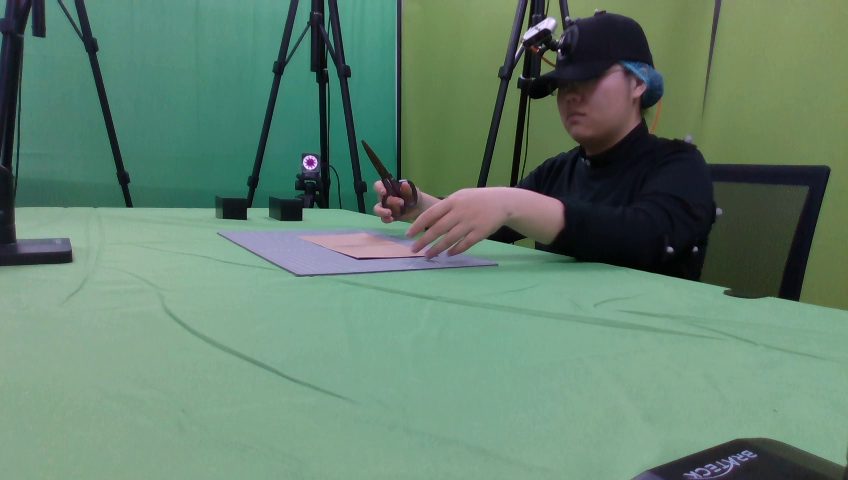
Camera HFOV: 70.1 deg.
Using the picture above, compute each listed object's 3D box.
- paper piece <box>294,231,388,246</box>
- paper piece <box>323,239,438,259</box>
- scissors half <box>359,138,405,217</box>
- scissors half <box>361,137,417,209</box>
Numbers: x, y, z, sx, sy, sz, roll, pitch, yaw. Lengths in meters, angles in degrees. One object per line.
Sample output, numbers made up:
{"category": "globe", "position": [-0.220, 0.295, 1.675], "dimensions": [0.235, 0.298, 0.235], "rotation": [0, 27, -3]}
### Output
{"category": "paper piece", "position": [-0.138, -0.002, 1.045], "dimensions": [0.136, 0.004, 0.134], "rotation": [-3, 10, -30]}
{"category": "paper piece", "position": [-0.069, 0.015, 0.932], "dimensions": [0.137, 0.008, 0.137], "rotation": [-6, 11, -30]}
{"category": "scissors half", "position": [-0.079, -0.111, 1.097], "dimensions": [0.040, 0.175, 0.012], "rotation": [-31, 33, -12]}
{"category": "scissors half", "position": [-0.063, -0.122, 1.100], "dimensions": [0.176, 0.040, 0.013], "rotation": [49, -10, -36]}
